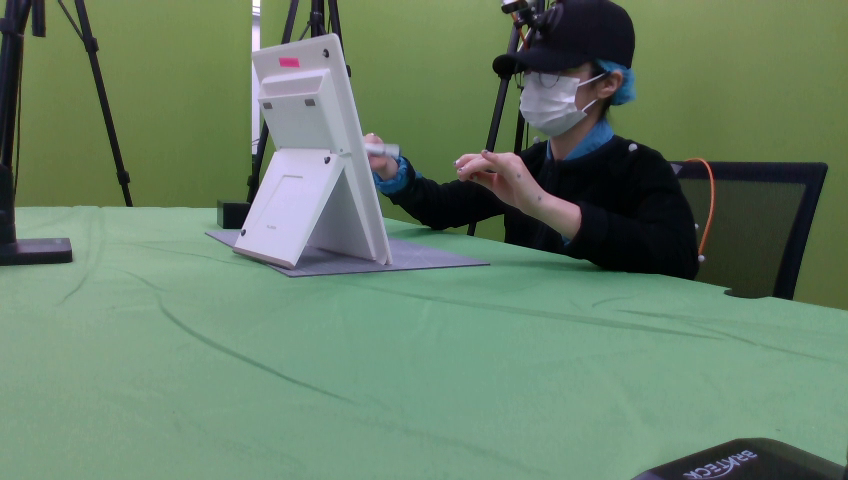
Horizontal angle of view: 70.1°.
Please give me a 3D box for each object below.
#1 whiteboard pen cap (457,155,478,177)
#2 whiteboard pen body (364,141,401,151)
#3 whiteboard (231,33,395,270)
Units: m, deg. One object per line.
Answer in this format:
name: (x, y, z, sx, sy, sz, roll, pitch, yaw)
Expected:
whiteboard pen cap: (0.061, -0.105, 0.852, 0.017, 0.017, 0.032, -5, 44, -43)
whiteboard pen body: (-0.102, -0.160, 1.027, 0.141, 0.017, 0.017, -4, 10, -34)
whiteboard: (-0.193, -0.094, 0.805, 0.144, 0.305, 0.216, -28, 25, -35)
